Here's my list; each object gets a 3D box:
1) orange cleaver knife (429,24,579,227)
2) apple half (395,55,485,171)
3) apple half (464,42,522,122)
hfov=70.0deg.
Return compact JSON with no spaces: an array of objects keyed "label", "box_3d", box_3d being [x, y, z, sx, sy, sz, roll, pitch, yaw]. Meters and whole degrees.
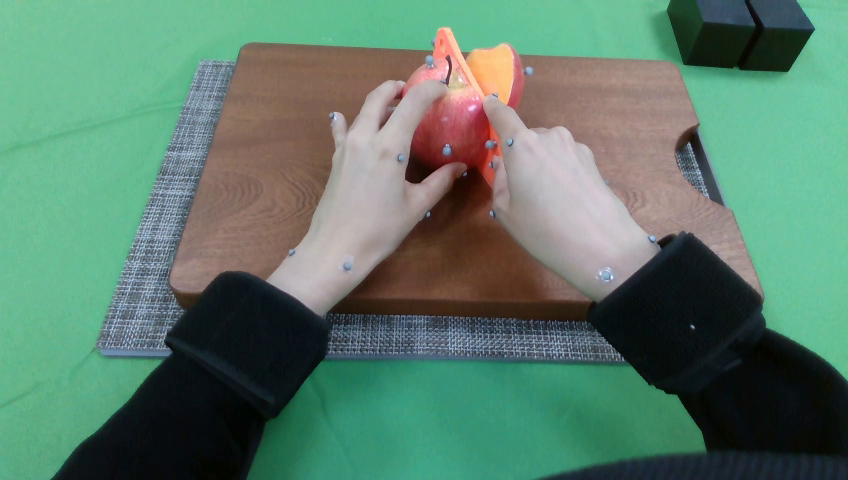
[{"label":"orange cleaver knife","box_3d":[0.046,-0.076,0.438,0.012,0.078,0.209,-17,55,-17]},{"label":"apple half","box_3d":[0.006,-0.089,0.448,0.053,0.075,0.080,-19,61,-12]},{"label":"apple half","box_3d":[0.055,-0.115,0.479,0.033,0.081,0.080,6,48,-31]}]
